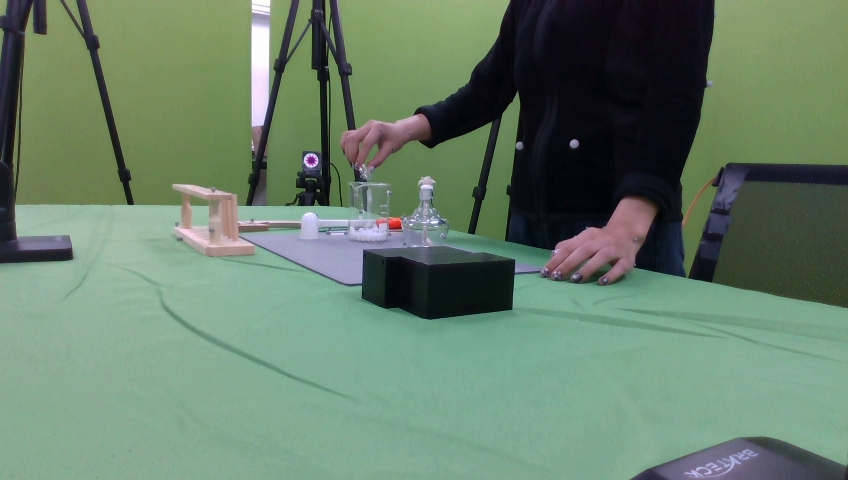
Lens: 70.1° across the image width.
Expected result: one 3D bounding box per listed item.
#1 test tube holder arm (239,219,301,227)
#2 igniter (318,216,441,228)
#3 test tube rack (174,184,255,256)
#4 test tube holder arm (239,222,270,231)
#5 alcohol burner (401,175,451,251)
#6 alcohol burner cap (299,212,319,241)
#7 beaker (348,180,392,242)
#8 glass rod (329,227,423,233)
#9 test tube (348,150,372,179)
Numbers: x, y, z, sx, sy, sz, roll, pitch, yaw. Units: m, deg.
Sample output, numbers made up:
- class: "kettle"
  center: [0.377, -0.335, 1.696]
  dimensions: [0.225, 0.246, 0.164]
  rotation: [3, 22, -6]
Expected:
- class: "test tube holder arm"
  center: [-0.296, -0.030, 1.137]
  dimensions: [0.179, 0.015, 0.013]
  rotation: [-6, 45, -50]
- class: "igniter"
  center: [-0.090, -0.035, 1.222]
  dimensions: [0.278, 0.025, 0.057]
  rotation: [-2, -1, -32]
- class: "test tube rack"
  center: [-0.327, -0.036, 0.928]
  dimensions: [0.067, 0.085, 0.241]
  rotation: [-2, 9, -32]
- class: "test tube holder arm"
  center: [-0.322, -0.024, 1.100]
  dimensions: [0.088, 0.015, 0.010]
  rotation: [-5, 44, -49]
- class: "alcohol burner"
  center: [0.003, -0.042, 0.947]
  dimensions: [0.078, 0.119, 0.078]
  rotation: [1, 9, 0]
- class: "alcohol burner cap"
  center: [-0.195, -0.024, 1.025]
  dimensions: [0.034, 0.048, 0.034]
  rotation: [3, 7, 0]
- class: "beaker"
  center: [-0.095, -0.050, 1.027]
  dimensions: [0.074, 0.100, 0.084]
  rotation: [5, 9, 25]
- class: "glass rod"
  center: [-0.087, -0.019, 1.148]
  dimensions: [0.201, 0.008, 0.008]
  rotation: [-3, 8, -32]
- class: "test tube"
  center: [-0.117, -0.140, 1.101]
  dimensions: [0.017, 0.017, 0.149]
  rotation: [0, 23, -19]
